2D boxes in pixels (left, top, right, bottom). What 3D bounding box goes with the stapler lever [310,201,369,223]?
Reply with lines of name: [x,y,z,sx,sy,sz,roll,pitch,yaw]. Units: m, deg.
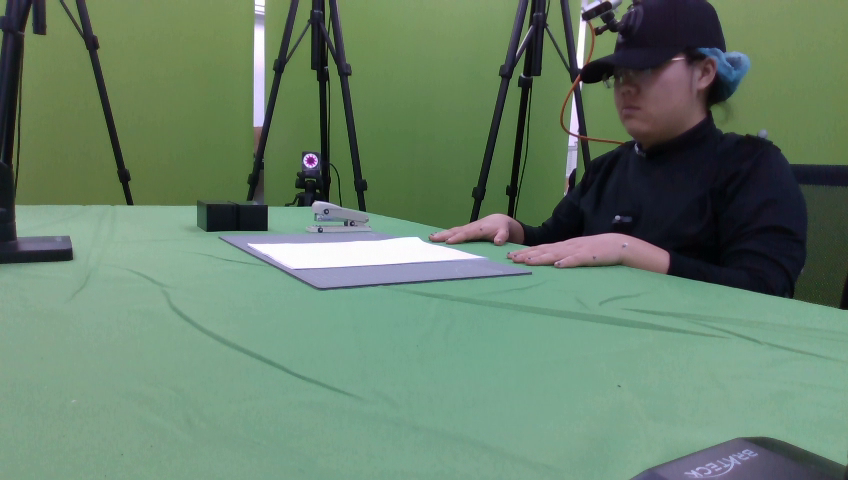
stapler lever: [-0.166,-0.055,1.184,0.119,0.040,0.026,1,9,-33]

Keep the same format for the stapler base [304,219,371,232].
stapler base: [-0.169,-0.030,1.186,0.131,0.024,0.041,0,9,-33]
